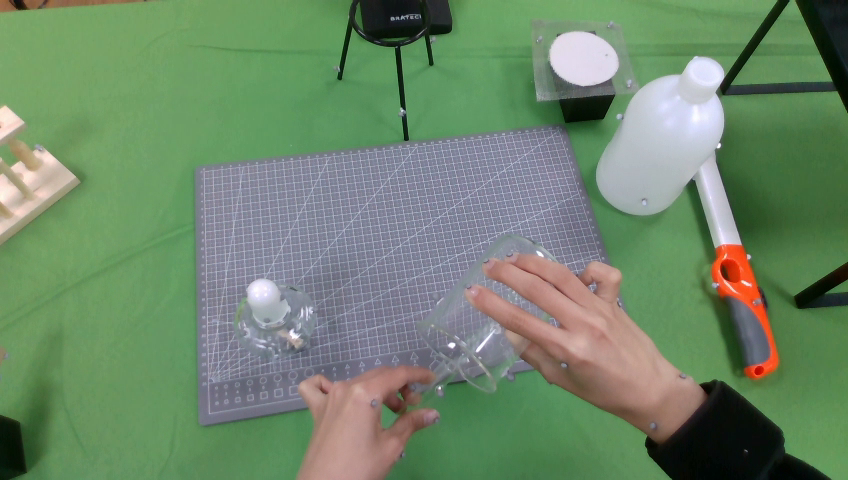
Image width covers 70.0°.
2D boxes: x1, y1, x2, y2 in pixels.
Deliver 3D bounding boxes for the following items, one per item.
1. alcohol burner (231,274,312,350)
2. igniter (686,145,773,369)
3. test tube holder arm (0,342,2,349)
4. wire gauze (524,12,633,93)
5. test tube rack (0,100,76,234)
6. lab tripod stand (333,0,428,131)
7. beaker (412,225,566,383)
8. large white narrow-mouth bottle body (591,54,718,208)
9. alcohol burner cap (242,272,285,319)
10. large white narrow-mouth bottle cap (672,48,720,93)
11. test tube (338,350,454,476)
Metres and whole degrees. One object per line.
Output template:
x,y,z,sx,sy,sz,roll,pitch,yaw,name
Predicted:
-0.148,0.063,0.579,0.078,0.120,0.077,2,63,-4,alcohol burner
0.337,0.008,0.682,0.057,0.025,0.274,2,64,-14,igniter
-0.403,0.171,0.518,0.013,0.015,0.177,1,64,7,test tube holder arm
0.187,-0.232,0.742,0.121,0.011,0.124,-1,65,-3,wire gauze
-0.498,-0.028,0.620,0.066,0.086,0.242,38,69,14,test tube rack
-0.042,-0.224,0.711,0.148,0.132,0.147,2,65,-4,lab tripod stand
0.051,0.046,0.453,0.073,0.084,0.100,39,72,14,beaker
0.250,-0.120,0.644,0.102,0.196,0.101,1,64,-2,large white narrow-mouth bottle body
-0.147,0.048,0.546,0.034,0.048,0.033,0,59,0,alcohol burner cap
0.253,-0.159,0.567,0.038,0.024,0.037,1,64,-2,large white narrow-mouth bottle cap
-0.026,0.145,0.497,0.017,0.017,0.150,46,110,17,test tube
